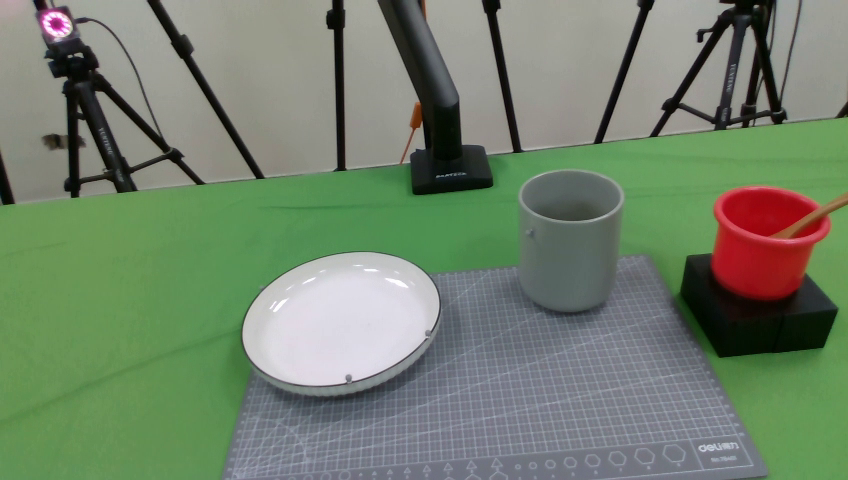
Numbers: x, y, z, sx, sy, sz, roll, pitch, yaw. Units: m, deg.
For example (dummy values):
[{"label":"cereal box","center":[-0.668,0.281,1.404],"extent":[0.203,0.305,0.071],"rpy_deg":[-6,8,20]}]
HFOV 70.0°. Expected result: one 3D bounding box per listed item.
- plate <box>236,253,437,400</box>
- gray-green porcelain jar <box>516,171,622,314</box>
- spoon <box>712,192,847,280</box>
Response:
[{"label":"plate","center":[-0.089,0.091,0.639],"extent":[0.207,0.039,0.205],"rpy_deg":[-4,35,3]},{"label":"gray-green porcelain jar","center":[0.151,0.007,0.644],"extent":[0.106,0.127,0.105],"rpy_deg":[-4,36,3]},{"label":"spoon","center":[0.354,-0.017,0.549],"extent":[0.022,0.194,0.041],"rpy_deg":[37,35,-19]}]
